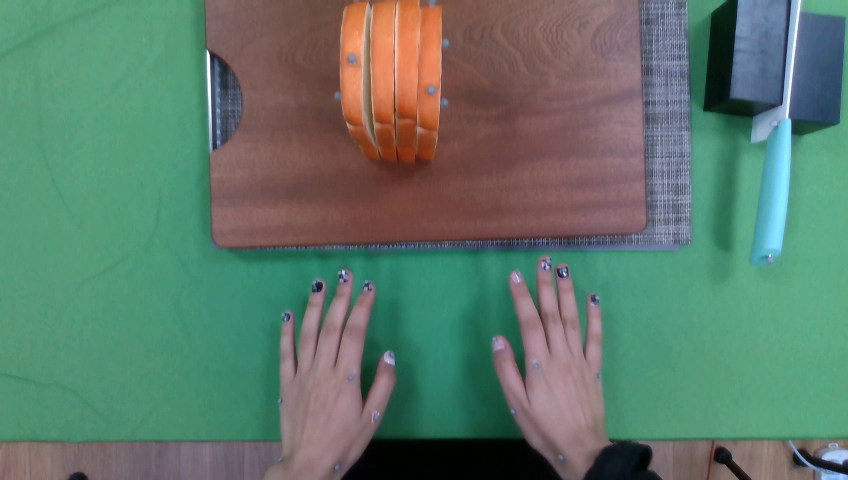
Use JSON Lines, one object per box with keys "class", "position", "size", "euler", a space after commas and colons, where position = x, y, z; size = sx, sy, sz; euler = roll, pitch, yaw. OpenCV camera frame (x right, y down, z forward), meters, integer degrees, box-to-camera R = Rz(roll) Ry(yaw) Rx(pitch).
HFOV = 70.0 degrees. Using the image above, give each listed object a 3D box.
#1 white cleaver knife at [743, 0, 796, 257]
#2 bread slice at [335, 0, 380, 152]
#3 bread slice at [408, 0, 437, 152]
{"class": "white cleaver knife", "position": [0.324, -0.126, 0.568], "size": [0.021, 0.066, 0.286], "euler": [7, 90, 4]}
{"class": "bread slice", "position": [-0.052, -0.135, 0.489], "size": [0.019, 0.131, 0.105], "euler": [0, 88, 3]}
{"class": "bread slice", "position": [-0.002, -0.130, 0.489], "size": [0.018, 0.134, 0.107], "euler": [0, 93, -3]}
